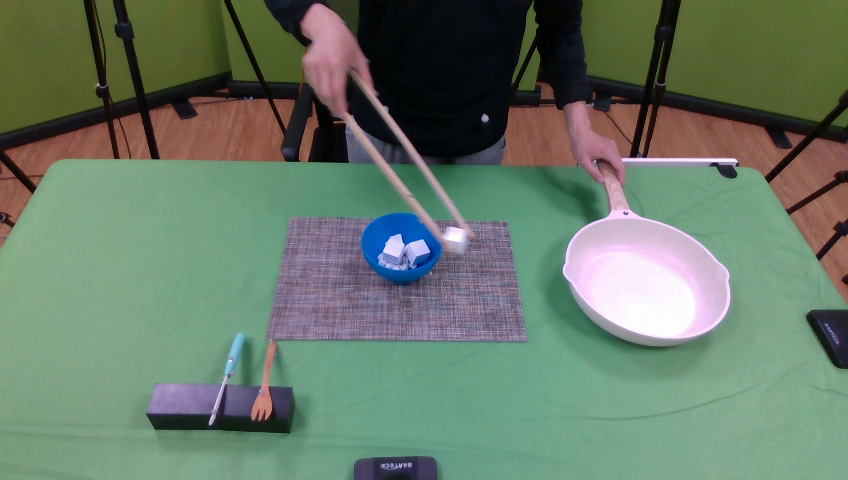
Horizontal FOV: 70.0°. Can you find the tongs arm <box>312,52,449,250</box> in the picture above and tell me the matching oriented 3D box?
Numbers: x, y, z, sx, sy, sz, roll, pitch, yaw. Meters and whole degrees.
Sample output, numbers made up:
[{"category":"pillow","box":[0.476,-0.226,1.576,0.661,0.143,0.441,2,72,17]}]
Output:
[{"category":"tongs arm","box":[-0.068,-0.146,1.018,0.051,0.026,0.385,-41,94,-16]}]

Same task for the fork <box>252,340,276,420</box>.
[{"category":"fork","box":[-0.242,0.211,0.932,0.028,0.019,0.206,-8,27,-5]}]

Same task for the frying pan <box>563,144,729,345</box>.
[{"category":"frying pan","box":[0.396,-0.008,1.179,0.307,0.103,0.484,1,55,-5]}]

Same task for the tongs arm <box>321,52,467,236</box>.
[{"category":"tongs arm","box":[-0.047,-0.162,1.026,0.028,0.028,0.387,-37,93,-12]}]

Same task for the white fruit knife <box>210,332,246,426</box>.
[{"category":"white fruit knife","box":[-0.301,0.206,0.930,0.016,0.027,0.206,5,29,-7]}]

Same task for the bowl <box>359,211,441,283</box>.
[{"category":"bowl","box":[-0.044,0.026,1.125,0.151,0.077,0.150,2,46,-2]}]
